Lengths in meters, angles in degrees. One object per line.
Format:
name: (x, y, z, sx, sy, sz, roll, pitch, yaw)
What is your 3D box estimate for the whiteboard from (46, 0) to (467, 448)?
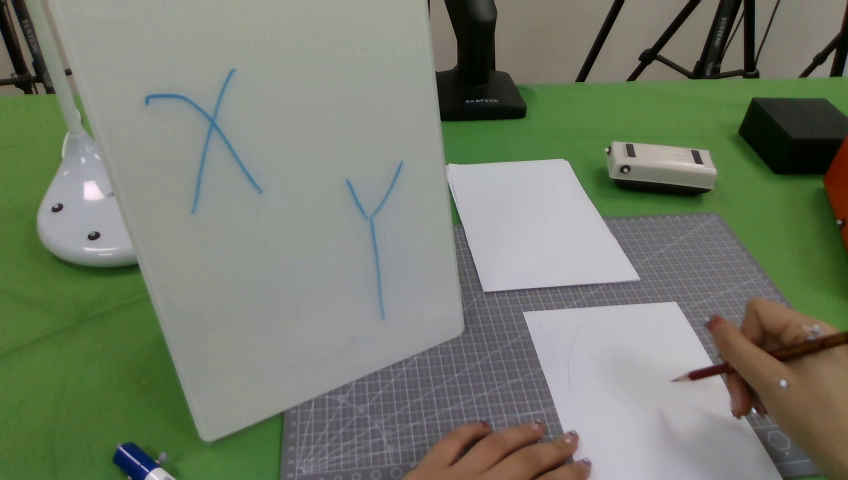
whiteboard: (-0.109, -0.046, 0.458, 0.218, 0.307, 0.142, -19, 26, -23)

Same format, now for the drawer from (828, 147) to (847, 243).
drawer: (0.527, -0.007, 0.589, 0.194, 0.074, 0.210, 13, 41, 12)

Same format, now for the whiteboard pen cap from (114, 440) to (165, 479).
whiteboard pen cap: (-0.188, 0.147, 0.402, 0.033, 0.018, 0.018, 23, 44, 25)

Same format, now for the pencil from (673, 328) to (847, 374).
pencil: (0.235, 0.068, 0.383, 0.012, 0.194, 0.012, 12, 64, -25)

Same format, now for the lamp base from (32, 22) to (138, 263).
lamp base: (-0.299, -0.096, 0.554, 0.178, 0.182, 0.160, 23, 44, 25)

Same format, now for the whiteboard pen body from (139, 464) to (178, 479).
whiteboard pen body: (-0.141, 0.170, 0.378, 0.140, 0.017, 0.017, 24, 45, 23)

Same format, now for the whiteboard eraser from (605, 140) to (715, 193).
whiteboard eraser: (0.265, -0.082, 0.688, 0.112, 0.042, 0.055, 7, 42, 4)

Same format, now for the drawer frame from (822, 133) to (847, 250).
drawer frame: (0.527, -0.010, 0.591, 0.201, 0.083, 0.212, 12, 40, 11)
